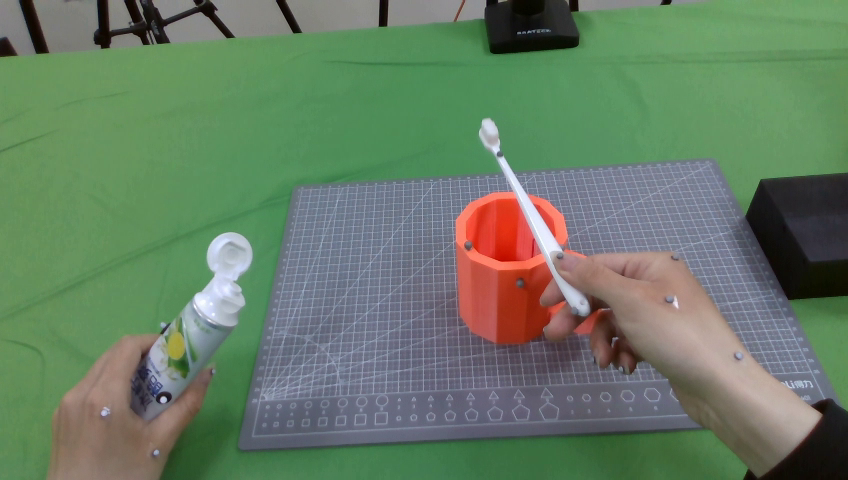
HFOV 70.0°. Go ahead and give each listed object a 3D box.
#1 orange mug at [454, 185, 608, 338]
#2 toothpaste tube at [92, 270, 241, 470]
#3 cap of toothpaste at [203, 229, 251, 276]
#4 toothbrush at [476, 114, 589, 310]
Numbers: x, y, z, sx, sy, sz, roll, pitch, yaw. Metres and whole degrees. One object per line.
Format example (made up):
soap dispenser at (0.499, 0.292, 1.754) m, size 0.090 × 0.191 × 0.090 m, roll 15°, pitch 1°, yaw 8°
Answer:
orange mug at (0.083, 0.023, 0.488) m, size 0.125 × 0.102 × 0.083 m, roll 19°, pitch 52°, yaw 27°
toothpaste tube at (-0.187, 0.087, 0.438) m, size 0.054 × 0.035 × 0.165 m, roll 44°, pitch 100°, yaw 29°
cap of toothpaste at (-0.142, 0.010, 0.442) m, size 0.011 × 0.037 × 0.037 m, roll 4°, pitch 41°, yaw 50°
toothbrush at (0.074, -0.027, 0.433) m, size 0.014 × 0.017 × 0.180 m, roll -11°, pitch 55°, yaw -16°
